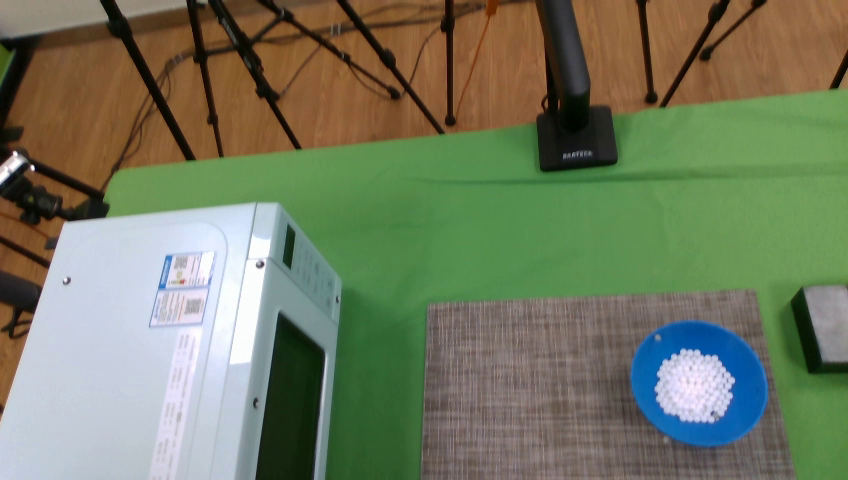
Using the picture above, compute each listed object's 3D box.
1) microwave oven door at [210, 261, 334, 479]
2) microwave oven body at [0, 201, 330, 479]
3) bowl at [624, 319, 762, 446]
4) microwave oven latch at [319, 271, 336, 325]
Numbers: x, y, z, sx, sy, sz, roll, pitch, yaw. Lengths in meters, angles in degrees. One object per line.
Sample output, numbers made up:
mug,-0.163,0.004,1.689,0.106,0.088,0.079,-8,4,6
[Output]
microwave oven door,-0.174,0.233,0.717,0.039,0.246,0.352,-6,62,11
microwave oven body,-0.316,0.211,0.767,0.325,0.262,0.438,-5,63,10
bowl,0.320,0.180,0.740,0.151,0.077,0.150,-5,62,11
microwave oven latch,-0.149,0.086,0.905,0.030,0.030,0.078,-5,63,10
